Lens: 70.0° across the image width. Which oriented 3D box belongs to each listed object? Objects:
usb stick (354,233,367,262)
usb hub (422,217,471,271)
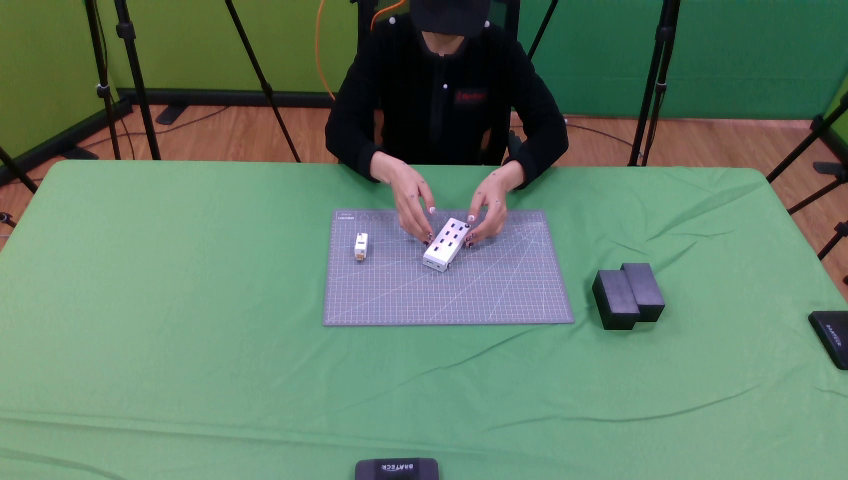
[{"bbox_3d":[-0.123,0.015,1.168,0.021,0.027,0.059,5,48,-1],"label":"usb stick"},{"bbox_3d":[0.045,0.007,1.189,0.049,0.025,0.125,23,49,17],"label":"usb hub"}]
